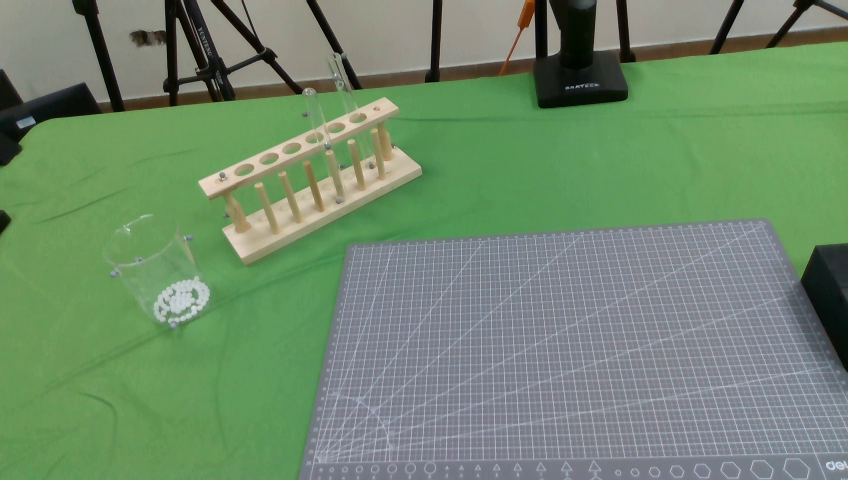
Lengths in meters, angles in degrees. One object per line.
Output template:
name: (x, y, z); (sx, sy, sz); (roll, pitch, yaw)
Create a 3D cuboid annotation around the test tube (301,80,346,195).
test tube: (-0.111, -0.111, 0.677); (0.017, 0.152, 0.017); (-6, 44, 6)

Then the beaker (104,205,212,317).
beaker: (-0.271, 0.024, 0.625); (0.083, 0.101, 0.074); (29, 56, 34)

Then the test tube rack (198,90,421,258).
test tube rack: (-0.127, -0.082, 0.715); (0.242, 0.086, 0.066); (-29, 48, -18)

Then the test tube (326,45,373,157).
test tube: (-0.086, -0.158, 0.713); (0.017, 0.152, 0.017); (-8, 45, 9)
